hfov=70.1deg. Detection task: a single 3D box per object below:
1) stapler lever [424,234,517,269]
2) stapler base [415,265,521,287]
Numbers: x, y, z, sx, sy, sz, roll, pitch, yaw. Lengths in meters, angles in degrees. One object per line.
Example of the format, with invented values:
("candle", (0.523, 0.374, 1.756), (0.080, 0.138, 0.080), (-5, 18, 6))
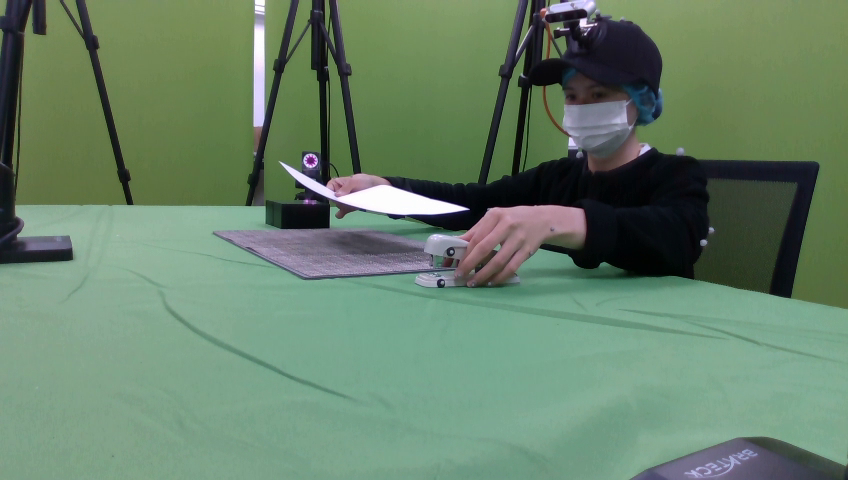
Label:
("stapler lever", (0.056, 0.015, 0.714), (0.119, 0.040, 0.026), (1, 9, -27))
("stapler base", (0.053, 0.039, 0.716), (0.131, 0.024, 0.041), (1, 9, -27))
